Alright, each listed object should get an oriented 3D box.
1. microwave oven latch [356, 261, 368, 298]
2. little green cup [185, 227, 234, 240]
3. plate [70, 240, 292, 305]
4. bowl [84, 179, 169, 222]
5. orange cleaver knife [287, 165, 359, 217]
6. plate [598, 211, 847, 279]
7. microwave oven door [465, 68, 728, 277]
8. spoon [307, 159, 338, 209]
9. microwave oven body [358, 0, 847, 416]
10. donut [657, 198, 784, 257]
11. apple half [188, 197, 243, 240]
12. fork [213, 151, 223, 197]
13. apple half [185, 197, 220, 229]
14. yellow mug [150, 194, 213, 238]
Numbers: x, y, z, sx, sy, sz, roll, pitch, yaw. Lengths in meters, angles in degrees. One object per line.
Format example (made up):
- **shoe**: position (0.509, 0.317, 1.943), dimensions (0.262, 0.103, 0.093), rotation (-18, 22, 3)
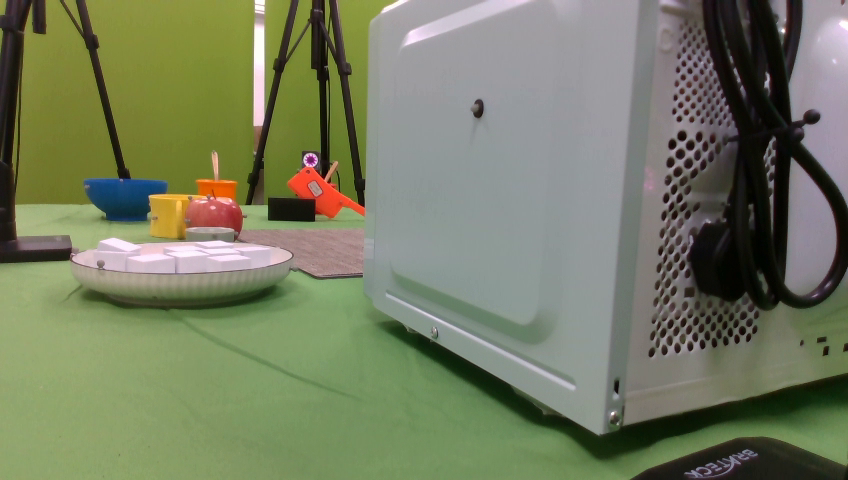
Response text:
- **microwave oven latch**: position (-0.020, 0.033, 0.530), dimensions (0.079, 0.029, 0.030), rotation (0, 7, -26)
- **little green cup**: position (-0.285, 0.005, 0.805), dimensions (0.061, 0.038, 0.061), rotation (2, 8, 0)
- **plate**: position (-0.242, 0.031, 0.618), dimensions (0.208, 0.039, 0.207), rotation (2, 8, 0)
- **bowl**: position (-0.584, -0.078, 1.194), dimensions (0.151, 0.077, 0.151), rotation (3, 8, 0)
- **orange cleaver knife**: position (-0.211, -0.092, 1.382), dimensions (0.212, 0.077, 0.012), rotation (34, 1, -15)
- **plate**: position (0.256, 0.002, 0.519), dimensions (0.209, 0.038, 0.209), rotation (3, 7, 0)
- **microwave oven door**: position (0.207, -0.096, 0.815), dimensions (0.354, 0.243, 0.039), rotation (9, 11, 42)
- **spoon**: position (-0.257, -0.147, 1.567), dimensions (0.041, 0.022, 0.193), rotation (2, 51, 19)
- **microwave oven body**: position (0.211, -0.047, 0.475), dimensions (0.444, 0.260, 0.324), rotation (-1, 7, -28)
- **donut**: position (0.251, -0.010, 0.517), dimensions (0.099, 0.048, 0.099), rotation (4, 5, 0)
- **apple half**: position (-0.305, -0.026, 0.907), dimensions (0.053, 0.074, 0.081), rotation (12, 8, 31)
- **fork**: position (-0.493, -0.143, 1.442), dimensions (0.028, 0.018, 0.206), rotation (-3, 52, -18)
- **apple half**: position (-0.338, -0.031, 0.927), dimensions (0.032, 0.081, 0.081), rotation (12, 12, 31)
- **yellow mug**: position (-0.401, -0.040, 1.003), dimensions (0.100, 0.064, 0.130), rotation (-1, 9, -20)
